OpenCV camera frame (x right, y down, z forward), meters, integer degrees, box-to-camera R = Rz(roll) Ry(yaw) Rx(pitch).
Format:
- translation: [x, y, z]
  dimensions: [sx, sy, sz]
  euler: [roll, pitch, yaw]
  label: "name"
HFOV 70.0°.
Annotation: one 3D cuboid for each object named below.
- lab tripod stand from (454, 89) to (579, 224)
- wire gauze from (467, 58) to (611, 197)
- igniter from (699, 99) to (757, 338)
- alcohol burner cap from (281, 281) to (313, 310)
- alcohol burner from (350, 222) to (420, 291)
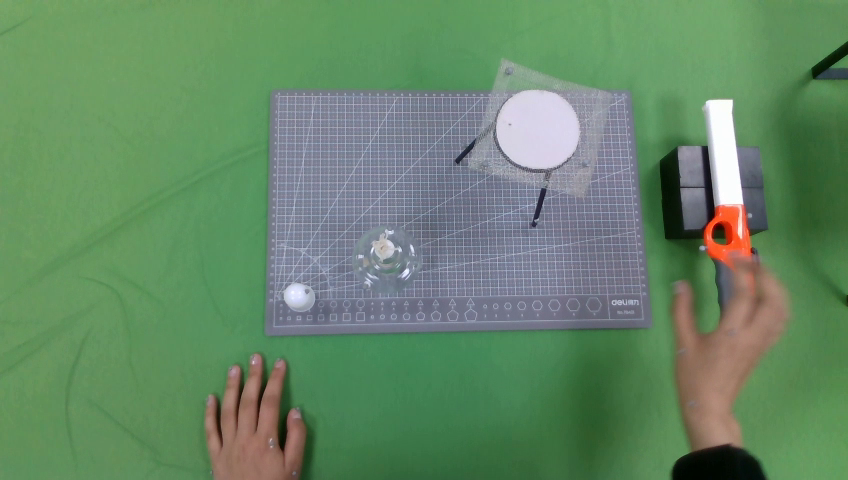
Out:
- translation: [0.112, -0.103, 0.677]
  dimensions: [0.148, 0.132, 0.147]
  euler: [1, 77, -3]
  label: "lab tripod stand"
- translation: [0.118, -0.114, 0.611]
  dimensions: [0.121, 0.011, 0.124]
  euler: [18, 78, 0]
  label: "wire gauze"
- translation: [0.341, -0.028, 0.687]
  dimensions: [0.057, 0.025, 0.275]
  euler: [0, 79, 3]
  label: "igniter"
- translation: [-0.144, 0.060, 0.678]
  dimensions: [0.034, 0.048, 0.033]
  euler: [1, 79, -4]
  label: "alcohol burner cap"
- translation: [-0.043, 0.016, 0.656]
  dimensions: [0.078, 0.119, 0.077]
  euler: [0, 81, -3]
  label: "alcohol burner"
